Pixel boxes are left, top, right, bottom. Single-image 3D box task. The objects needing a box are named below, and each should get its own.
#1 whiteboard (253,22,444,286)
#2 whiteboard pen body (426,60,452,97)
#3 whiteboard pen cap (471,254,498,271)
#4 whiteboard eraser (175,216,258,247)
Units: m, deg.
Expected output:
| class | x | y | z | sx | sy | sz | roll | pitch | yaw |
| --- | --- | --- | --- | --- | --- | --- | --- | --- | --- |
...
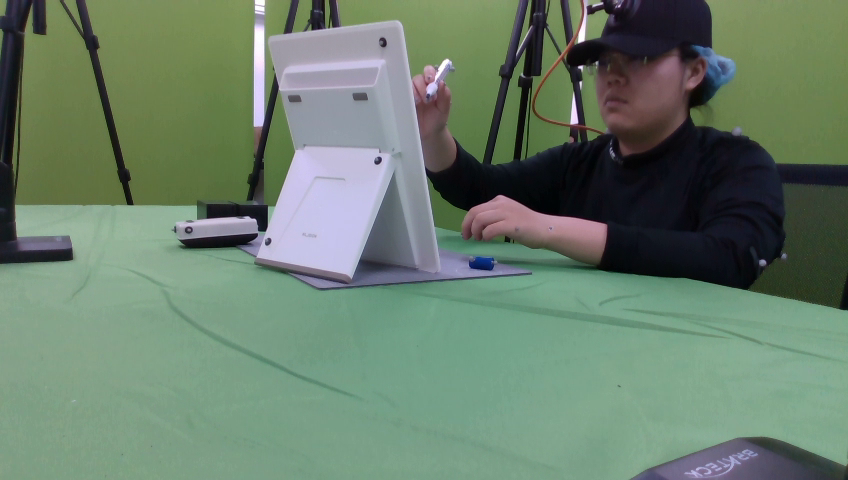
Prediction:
| class | x | y | z | sx | sy | sz | roll | pitch | yaw |
| --- | --- | --- | --- | --- | --- | --- | --- | --- | --- |
| whiteboard | -0.125 | -0.081 | 0.715 | 0.216 | 0.305 | 0.144 | 9 | 29 | 36 |
| whiteboard pen body | 0.021 | -0.240 | 0.899 | 0.017 | 0.017 | 0.141 | 5 | 35 | 14 |
| whiteboard pen cap | 0.081 | 0.030 | 0.799 | 0.033 | 0.018 | 0.018 | 18 | 3 | -16 |
| whiteboard eraser | -0.313 | -0.012 | 0.914 | 0.113 | 0.042 | 0.055 | -6 | 12 | -30 |
